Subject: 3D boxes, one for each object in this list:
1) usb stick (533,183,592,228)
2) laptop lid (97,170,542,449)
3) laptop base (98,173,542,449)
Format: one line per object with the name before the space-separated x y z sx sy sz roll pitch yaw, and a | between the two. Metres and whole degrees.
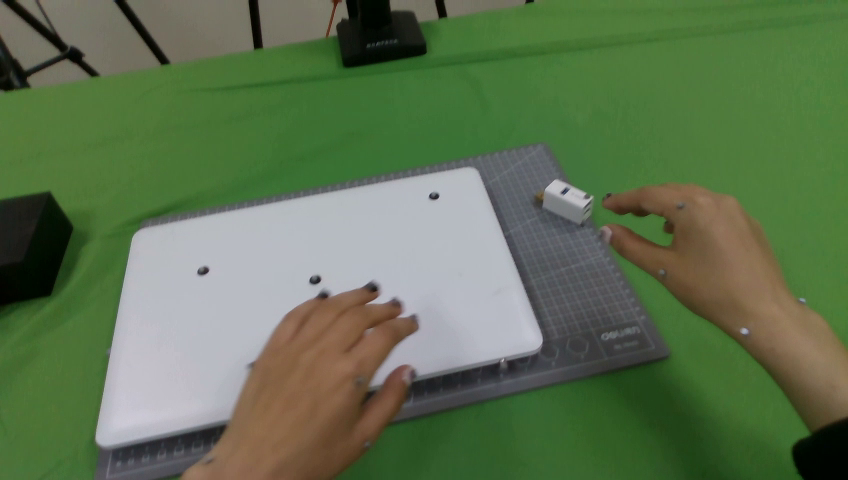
usb stick | 0.135 -0.037 0.601 0.058 0.027 0.021 28 54 33
laptop lid | -0.097 0.041 0.542 0.357 0.013 0.239 -10 47 -4
laptop base | -0.096 0.048 0.552 0.355 0.023 0.233 -11 48 -5
